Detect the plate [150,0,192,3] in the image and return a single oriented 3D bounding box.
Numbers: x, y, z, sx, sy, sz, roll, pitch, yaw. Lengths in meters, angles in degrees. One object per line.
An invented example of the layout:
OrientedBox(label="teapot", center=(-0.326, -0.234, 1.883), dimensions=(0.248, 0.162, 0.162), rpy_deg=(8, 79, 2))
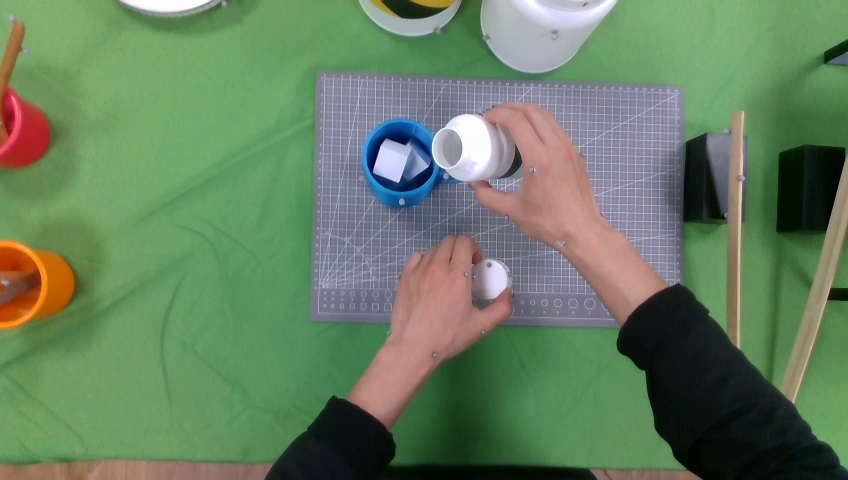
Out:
OrientedBox(label="plate", center=(-0.292, -0.372, 0.696), dimensions=(0.208, 0.039, 0.207), rpy_deg=(0, 89, -4))

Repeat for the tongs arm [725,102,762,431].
OrientedBox(label="tongs arm", center=(0.371, 0.037, 0.696), dimensions=(0.051, 0.026, 0.386), rpy_deg=(-3, 100, -6))

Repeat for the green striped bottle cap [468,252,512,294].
OrientedBox(label="green striped bottle cap", center=(0.069, 0.035, 0.636), dimensions=(0.044, 0.020, 0.044), rpy_deg=(-4, 81, 23))

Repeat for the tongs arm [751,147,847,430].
OrientedBox(label="tongs arm", center=(0.453, 0.040, 0.704), dimensions=(0.028, 0.027, 0.388), rpy_deg=(9, 99, -12))

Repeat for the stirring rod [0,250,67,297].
OrientedBox(label="stirring rod", center=(-0.451, 0.059, 0.624), dimensions=(0.014, 0.006, 0.175), rpy_deg=(49, 44, -4))

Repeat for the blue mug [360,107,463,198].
OrientedBox(label="blue mug", center=(-0.010, -0.090, 0.671), dimensions=(0.117, 0.106, 0.082), rpy_deg=(9, 87, -3))

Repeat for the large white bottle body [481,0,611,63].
OrientedBox(label="large white bottle body", center=(0.137, -0.282, 0.649), dimensions=(0.131, 0.184, 0.130), rpy_deg=(0, 88, -3))

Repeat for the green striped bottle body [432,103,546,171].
OrientedBox(label="green striped bottle body", center=(0.061, -0.099, 0.586), dimensions=(0.120, 0.063, 0.063), rpy_deg=(-11, 88, -46))

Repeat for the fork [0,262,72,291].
OrientedBox(label="fork", center=(-0.473, 0.020, 0.618), dimensions=(0.209, 0.018, 0.028), rpy_deg=(23, 84, -46))

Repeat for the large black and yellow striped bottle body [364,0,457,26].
OrientedBox(label="large black and yellow striped bottle body", center=(-0.012, -0.323, 0.641), dimensions=(0.131, 0.184, 0.130), rpy_deg=(0, 88, -4))

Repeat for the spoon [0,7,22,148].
OrientedBox(label="spoon", center=(-0.439, -0.162, 0.628), dimensions=(0.041, 0.021, 0.194), rpy_deg=(48, 129, 2))
